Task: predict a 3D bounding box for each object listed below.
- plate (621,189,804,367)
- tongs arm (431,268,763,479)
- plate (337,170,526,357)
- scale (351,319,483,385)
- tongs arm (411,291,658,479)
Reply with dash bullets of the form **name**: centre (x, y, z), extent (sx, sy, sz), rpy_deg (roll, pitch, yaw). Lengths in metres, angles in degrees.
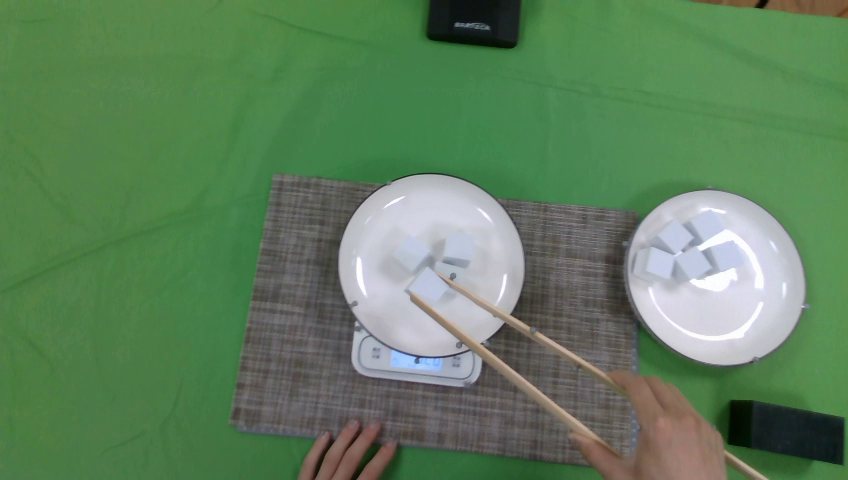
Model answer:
- **plate**: centre (0.332, 0.044, 0.711), extent (0.208, 0.039, 0.206), rpy_deg (0, 77, -1)
- **tongs arm**: centre (0.153, 0.140, 0.548), extent (0.382, 0.027, 0.050), rpy_deg (30, 68, 18)
- **plate**: centre (0.008, 0.026, 0.676), extent (0.209, 0.038, 0.208), rpy_deg (0, 77, -1)
- **scale**: centre (0.000, 0.060, 0.701), extent (0.149, 0.032, 0.200), rpy_deg (7, 77, 1)
- **tongs arm**: centre (0.139, 0.156, 0.541), extent (0.385, 0.028, 0.028), rpy_deg (34, 66, 20)
